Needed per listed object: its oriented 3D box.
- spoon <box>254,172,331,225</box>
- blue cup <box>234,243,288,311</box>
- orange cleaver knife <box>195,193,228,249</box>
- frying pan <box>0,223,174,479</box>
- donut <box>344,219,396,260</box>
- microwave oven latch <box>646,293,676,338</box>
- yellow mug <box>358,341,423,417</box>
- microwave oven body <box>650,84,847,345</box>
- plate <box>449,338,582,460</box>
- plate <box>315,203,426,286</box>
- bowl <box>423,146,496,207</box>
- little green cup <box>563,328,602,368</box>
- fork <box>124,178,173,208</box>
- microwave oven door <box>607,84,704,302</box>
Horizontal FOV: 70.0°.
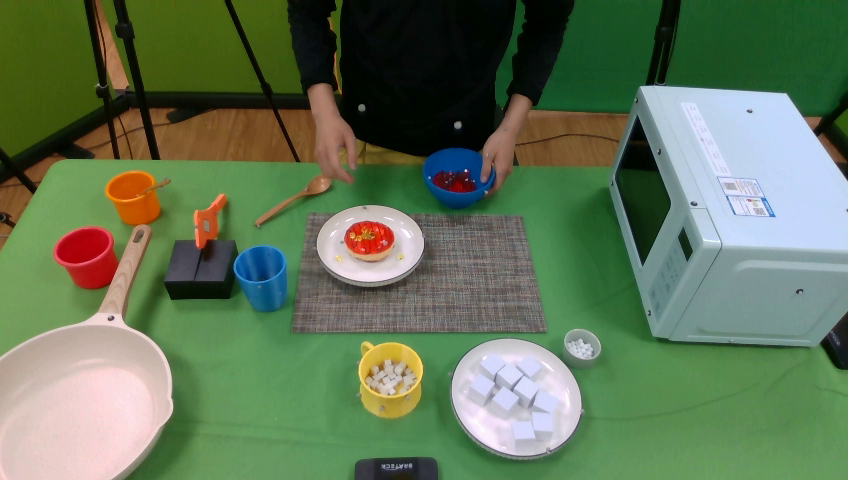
[{"bbox_3d":[-0.272,-0.087,1.256,0.041,0.022,0.193,46,57,12],"label":"spoon"},{"bbox_3d":[-0.276,0.072,1.052,0.093,0.101,0.092,1,48,-1],"label":"blue cup"},{"bbox_3d":[-0.406,-0.041,1.163,0.012,0.077,0.210,0,18,-3],"label":"orange cleaver knife"},{"bbox_3d":[-0.505,0.169,0.941,0.307,0.103,0.485,5,54,-1],"label":"frying pan"},{"bbox_3d":[-0.103,-0.002,1.157,0.099,0.048,0.098,3,43,-2],"label":"donut"},{"bbox_3d":[0.412,0.133,1.060,0.030,0.029,0.078,3,46,0],"label":"microwave oven latch"},{"bbox_3d":[-0.062,0.210,0.961,0.100,0.064,0.130,-29,54,-27],"label":"yellow mug"},{"bbox_3d":[0.569,-0.054,1.116,0.326,0.261,0.439,2,46,-1],"label":"microwave oven body"},{"bbox_3d":[0.141,0.251,0.955,0.208,0.039,0.206,2,46,-2],"label":"plate"},{"bbox_3d":[-0.101,0.012,1.159,0.209,0.038,0.208,2,46,-2],"label":"plate"},{"bbox_3d":[0.072,-0.123,1.277,0.151,0.077,0.150,2,46,-1],"label":"bowl"},{"bbox_3d":[0.265,0.184,1.025,0.061,0.039,0.061,1,46,-1],"label":"little green cup"},{"bbox_3d":[-0.525,-0.090,1.153,0.207,0.019,0.028,-18,27,45],"label":"fork"},{"bbox_3d":[0.424,-0.096,1.138,0.039,0.245,0.353,3,46,-1],"label":"microwave oven door"}]
